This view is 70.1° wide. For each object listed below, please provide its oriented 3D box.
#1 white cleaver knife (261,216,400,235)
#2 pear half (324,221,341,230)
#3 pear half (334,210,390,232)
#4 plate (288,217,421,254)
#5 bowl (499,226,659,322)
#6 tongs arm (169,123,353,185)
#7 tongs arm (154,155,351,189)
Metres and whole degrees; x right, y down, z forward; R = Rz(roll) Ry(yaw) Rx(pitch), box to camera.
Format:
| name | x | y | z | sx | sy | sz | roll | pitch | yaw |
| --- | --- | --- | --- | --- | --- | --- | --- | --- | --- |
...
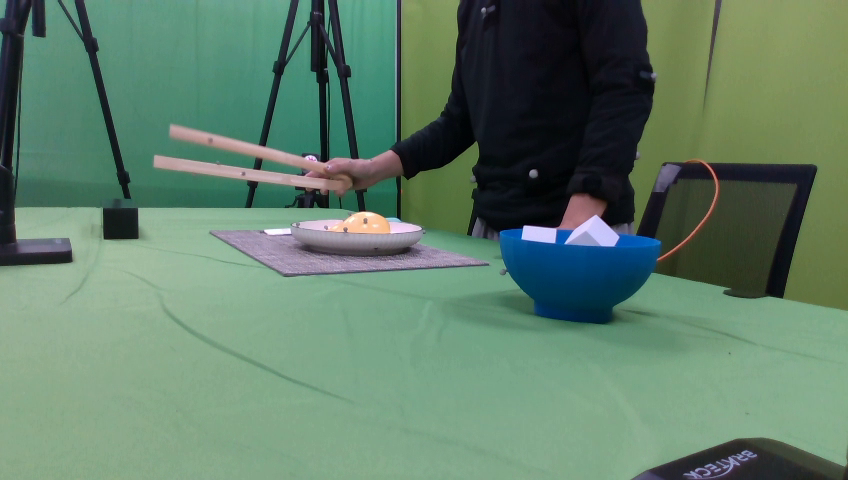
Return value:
| name | x | y | z | sx | sy | sz | roll | pitch | yaw |
| --- | --- | --- | --- | --- | --- | --- | --- | --- | --- |
| white cleaver knife | -0.168 | -0.022 | 1.156 | 0.288 | 0.021 | 0.065 | -7 | 17 | -33 |
| pear half | -0.126 | -0.019 | 1.001 | 0.088 | 0.031 | 0.070 | 8 | 3 | 1 |
| pear half | -0.108 | -0.016 | 0.920 | 0.110 | 0.056 | 0.076 | -5 | 5 | -20 |
| plate | -0.109 | -0.007 | 0.956 | 0.208 | 0.039 | 0.207 | 2 | 7 | 0 |
| bowl | 0.145 | 0.032 | 0.584 | 0.151 | 0.077 | 0.151 | 2 | 7 | 0 |
| tongs arm | -0.295 | -0.163 | 1.173 | 0.390 | 0.027 | 0.028 | 11 | -30 | -40 |
| tongs arm | -0.335 | -0.140 | 1.228 | 0.387 | 0.026 | 0.050 | 6 | -24 | -31 |
